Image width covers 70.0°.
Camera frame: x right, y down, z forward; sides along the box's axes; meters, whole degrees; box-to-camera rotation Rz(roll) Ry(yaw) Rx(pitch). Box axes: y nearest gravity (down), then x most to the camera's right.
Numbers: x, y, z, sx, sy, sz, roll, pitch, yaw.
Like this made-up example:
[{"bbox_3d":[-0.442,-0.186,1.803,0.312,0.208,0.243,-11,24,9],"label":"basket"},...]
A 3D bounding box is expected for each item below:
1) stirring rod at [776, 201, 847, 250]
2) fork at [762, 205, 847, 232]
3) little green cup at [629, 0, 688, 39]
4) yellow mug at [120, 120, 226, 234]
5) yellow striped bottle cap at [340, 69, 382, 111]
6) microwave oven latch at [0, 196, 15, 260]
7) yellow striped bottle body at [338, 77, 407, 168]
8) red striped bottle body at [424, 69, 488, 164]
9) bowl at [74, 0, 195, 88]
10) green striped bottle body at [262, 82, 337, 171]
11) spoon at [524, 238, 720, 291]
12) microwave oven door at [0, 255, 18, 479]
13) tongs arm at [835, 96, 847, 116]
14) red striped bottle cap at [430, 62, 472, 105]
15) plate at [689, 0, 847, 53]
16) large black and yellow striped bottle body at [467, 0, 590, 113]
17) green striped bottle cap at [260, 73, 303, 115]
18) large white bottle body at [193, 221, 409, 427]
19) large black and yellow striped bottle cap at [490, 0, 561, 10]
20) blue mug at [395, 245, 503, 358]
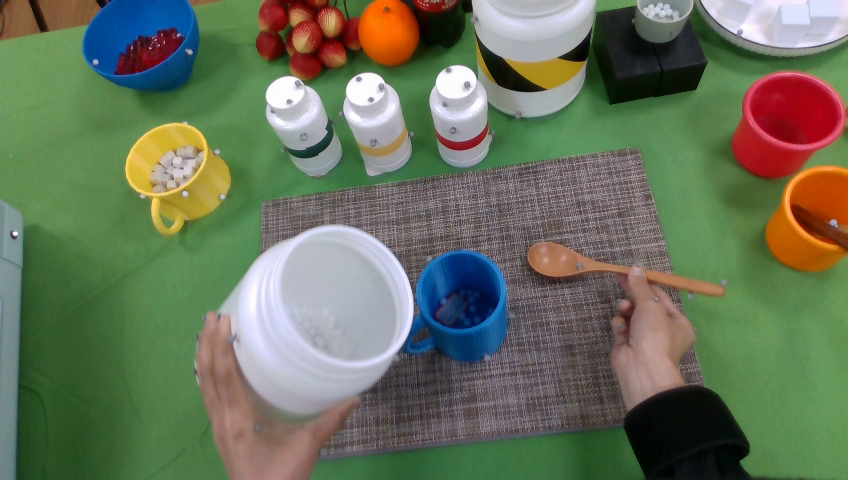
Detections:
[{"bbox_3d":[0.380,-0.006,0.565,0.014,0.006,0.175,-5,23,2],"label":"stirring rod"},{"bbox_3d":[0.410,-0.009,0.554,0.028,0.019,0.205,-37,23,-15],"label":"fork"},{"bbox_3d":[0.264,-0.261,0.689,0.061,0.039,0.061,-2,64,4],"label":"little green cup"},{"bbox_3d":[-0.300,-0.070,0.721,0.100,0.064,0.130,1,67,8],"label":"yellow mug"},{"bbox_3d":[-0.067,-0.159,0.641,0.044,0.019,0.044,-1,63,2],"label":"yellow striped bottle cap"},{"bbox_3d":[-0.506,-0.012,0.717,0.030,0.030,0.078,-15,66,1],"label":"microwave oven latch"},{"bbox_3d":[-0.059,-0.138,0.689,0.063,0.121,0.062,-3,65,7],"label":"yellow striped bottle body"},{"bbox_3d":[0.036,-0.142,0.678,0.063,0.121,0.062,-4,65,9],"label":"red striped bottle body"},{"bbox_3d":[-0.366,-0.256,0.804,0.151,0.077,0.150,-3,66,6],"label":"bowl"},{"bbox_3d":[-0.145,-0.136,0.700,0.063,0.120,0.062,-3,66,6],"label":"green striped bottle body"},{"bbox_3d":[0.195,0.028,0.615,0.192,0.022,0.041,10,58,28],"label":"spoon"},{"bbox_3d":[-0.465,0.138,0.535,0.039,0.246,0.352,-17,65,1],"label":"microwave oven door"},{"bbox_3d":[0.606,-0.045,0.607,0.051,0.027,0.382,-41,68,-14],"label":"tongs arm"},{"bbox_3d":[0.028,-0.164,0.631,0.044,0.018,0.044,-1,64,3],"label":"red striped bottle cap"},{"bbox_3d":[0.428,-0.310,0.745,0.209,0.038,0.207,-3,67,6],"label":"plate"},{"bbox_3d":[0.115,-0.245,0.678,0.130,0.185,0.130,-3,66,7],"label":"large black and yellow striped bottle body"},{"bbox_3d":[-0.153,-0.157,0.652,0.044,0.020,0.044,-2,66,5],"label":"green striped bottle cap"},{"bbox_3d":[-0.103,0.072,0.497,0.131,0.185,0.129,17,57,-27],"label":"large white bottle body"},{"bbox_3d":[0.104,-0.279,0.599,0.115,0.019,0.114,-4,68,9],"label":"large black and yellow striped bottle cap"},{"bbox_3d":[0.022,0.072,0.591,0.116,0.107,0.081,-31,65,-6],"label":"blue mug"}]
